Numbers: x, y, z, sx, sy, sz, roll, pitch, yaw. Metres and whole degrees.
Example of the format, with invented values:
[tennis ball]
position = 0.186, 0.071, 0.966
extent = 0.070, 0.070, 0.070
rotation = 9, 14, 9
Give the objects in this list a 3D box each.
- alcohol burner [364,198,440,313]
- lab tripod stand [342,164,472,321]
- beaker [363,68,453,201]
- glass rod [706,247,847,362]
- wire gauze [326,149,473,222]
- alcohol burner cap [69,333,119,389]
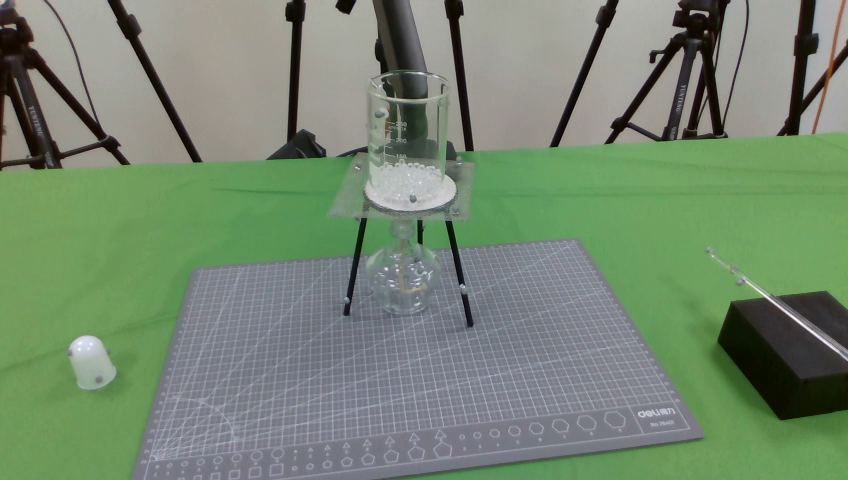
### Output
[alcohol burner]
position = -0.022, 0.013, 0.603
extent = 0.078, 0.120, 0.077
rotation = 0, 32, 1
[lab tripod stand]
position = -0.011, 0.003, 0.599
extent = 0.148, 0.132, 0.147
rotation = 2, 33, -1
[beaker]
position = -0.018, -0.093, 0.537
extent = 0.083, 0.101, 0.074
rotation = 27, 41, 32
[glass rod]
position = 0.326, 0.061, 0.550
extent = 0.008, 0.008, 0.197
rotation = -11, 36, -16
[wire gauze]
position = -0.017, -0.051, 0.562
extent = 0.121, 0.011, 0.124
rotation = 4, 36, 5
[alcohol burner cap]
position = -0.293, 0.104, 0.533
extent = 0.034, 0.048, 0.033
rotation = 0, 34, 0
